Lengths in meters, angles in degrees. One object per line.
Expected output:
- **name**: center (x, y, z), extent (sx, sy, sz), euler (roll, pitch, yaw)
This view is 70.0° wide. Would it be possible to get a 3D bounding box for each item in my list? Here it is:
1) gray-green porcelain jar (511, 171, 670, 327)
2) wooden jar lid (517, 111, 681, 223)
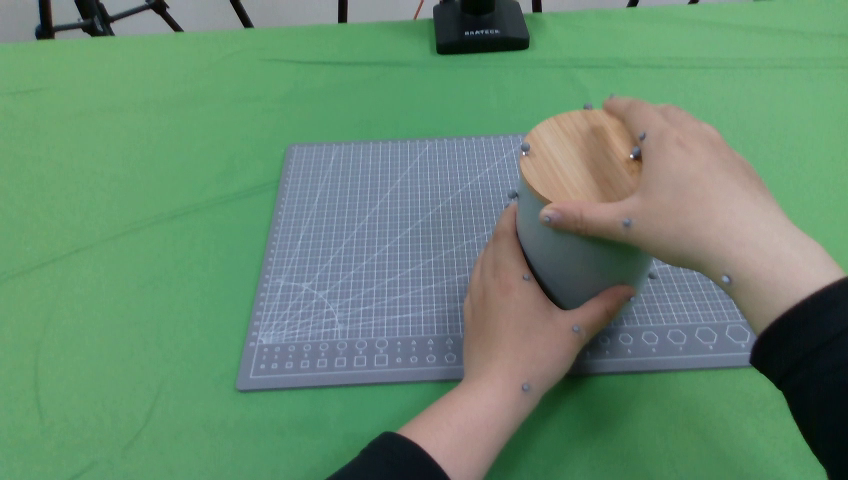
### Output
- **gray-green porcelain jar**: center (0.120, -0.004, 0.460), extent (0.106, 0.128, 0.105), euler (-2, 46, 2)
- **wooden jar lid**: center (0.118, -0.048, 0.415), extent (0.108, 0.021, 0.107), euler (-2, 48, 3)
